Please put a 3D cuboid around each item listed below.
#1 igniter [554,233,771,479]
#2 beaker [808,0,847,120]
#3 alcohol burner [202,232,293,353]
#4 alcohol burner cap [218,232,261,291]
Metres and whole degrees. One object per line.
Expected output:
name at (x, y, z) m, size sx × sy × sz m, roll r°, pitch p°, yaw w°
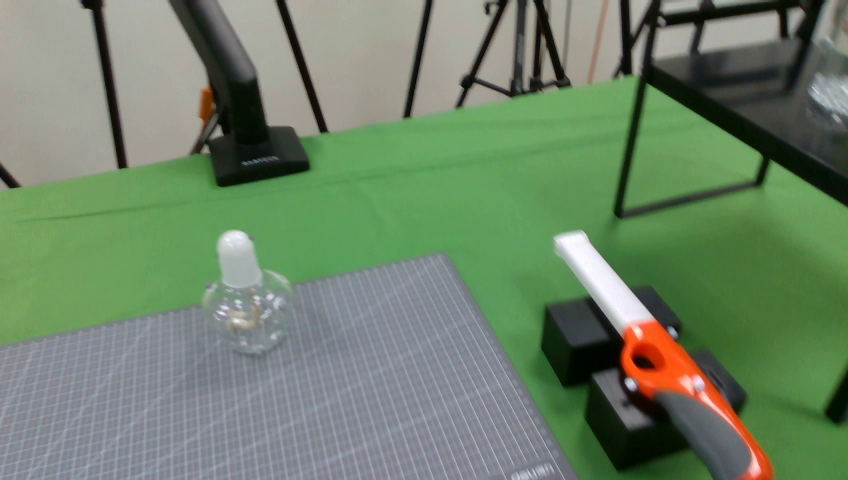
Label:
igniter at (0.170, 0.077, 0.470) m, size 0.057 × 0.025 × 0.273 m, roll -11°, pitch 36°, yaw -9°
beaker at (0.364, -0.154, 0.492) m, size 0.083 × 0.101 × 0.073 m, roll 9°, pitch 38°, yaw 14°
alcohol burner at (-0.155, 0.041, 0.526) m, size 0.078 × 0.120 × 0.077 m, roll 1°, pitch 37°, yaw 0°
alcohol burner cap at (-0.156, 0.015, 0.508) m, size 0.034 × 0.048 × 0.033 m, roll 2°, pitch 35°, yaw -1°
